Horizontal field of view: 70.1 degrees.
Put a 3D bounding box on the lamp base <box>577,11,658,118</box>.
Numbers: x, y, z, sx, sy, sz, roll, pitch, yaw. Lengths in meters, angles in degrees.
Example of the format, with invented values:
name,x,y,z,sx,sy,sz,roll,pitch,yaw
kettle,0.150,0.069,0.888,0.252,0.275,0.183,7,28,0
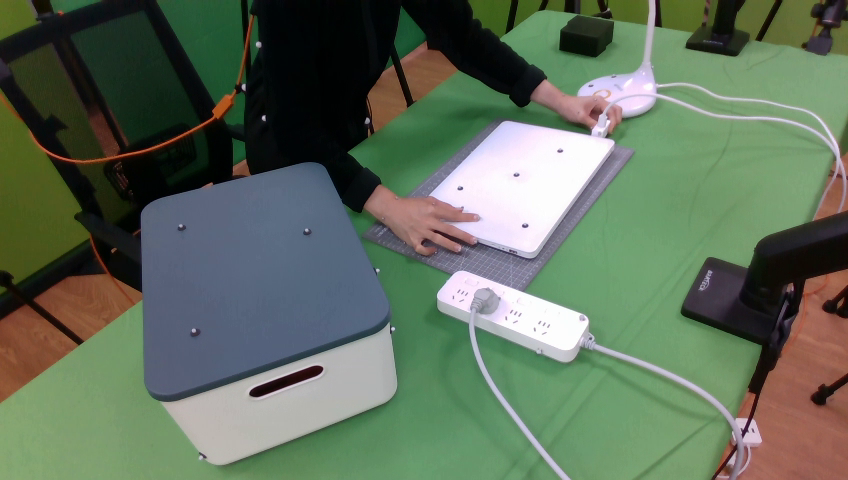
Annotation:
name,x,y,z,sx,sy,sz,roll,pitch,yaw
lamp base,0.406,-0.363,1.223,0.180,0.181,0.159,-20,42,-18

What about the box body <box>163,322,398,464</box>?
name,x,y,z,sx,sy,sz,roll,pitch,yaw
box body,-0.205,0.080,0.803,0.255,0.161,0.361,-18,41,-13

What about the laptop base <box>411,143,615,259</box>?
name,x,y,z,sx,sy,sz,roll,pitch,yaw
laptop base,0.167,-0.102,1.075,0.234,0.023,0.355,16,46,30

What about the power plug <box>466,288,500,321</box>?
name,x,y,z,sx,sy,sz,roll,pitch,yaw
power plug,0.072,0.093,0.813,0.035,0.053,0.073,30,55,35

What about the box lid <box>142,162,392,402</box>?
name,x,y,z,sx,sy,sz,roll,pitch,yaw
box lid,-0.212,0.024,0.752,0.264,0.015,0.368,-17,41,-13

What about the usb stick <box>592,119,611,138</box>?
name,x,y,z,sx,sy,sz,roll,pitch,yaw
usb stick,0.335,-0.205,1.151,0.021,0.027,0.059,22,53,25

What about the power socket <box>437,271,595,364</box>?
name,x,y,z,sx,sy,sz,roll,pitch,yaw
power socket,0.118,0.102,0.831,0.225,0.033,0.072,20,48,28

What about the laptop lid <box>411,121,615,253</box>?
name,x,y,z,sx,sy,sz,roll,pitch,yaw
laptop lid,0.164,-0.112,1.069,0.240,0.013,0.357,19,47,31
